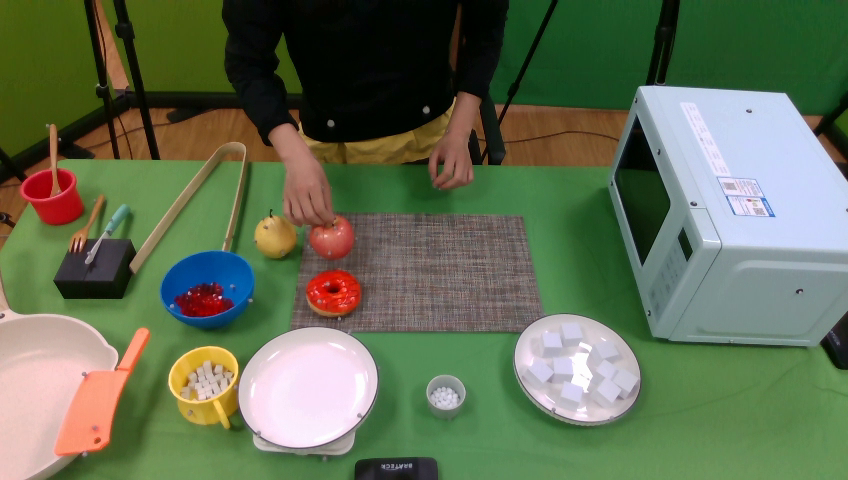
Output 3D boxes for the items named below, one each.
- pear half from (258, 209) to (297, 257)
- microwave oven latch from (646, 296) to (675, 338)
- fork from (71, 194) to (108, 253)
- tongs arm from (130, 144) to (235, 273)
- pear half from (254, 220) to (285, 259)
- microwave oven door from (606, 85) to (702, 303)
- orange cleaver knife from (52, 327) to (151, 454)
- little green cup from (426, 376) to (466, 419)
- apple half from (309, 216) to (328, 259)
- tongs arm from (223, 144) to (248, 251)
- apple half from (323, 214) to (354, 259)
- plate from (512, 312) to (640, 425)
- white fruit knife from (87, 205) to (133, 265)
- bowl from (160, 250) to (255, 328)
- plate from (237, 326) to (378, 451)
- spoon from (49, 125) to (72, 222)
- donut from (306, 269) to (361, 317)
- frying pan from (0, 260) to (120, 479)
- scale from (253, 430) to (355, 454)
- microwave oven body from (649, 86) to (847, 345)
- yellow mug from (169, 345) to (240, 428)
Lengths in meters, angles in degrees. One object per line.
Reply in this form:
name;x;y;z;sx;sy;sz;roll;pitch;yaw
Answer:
pear half;-0.273;-0.024;1.141;0.076;0.110;0.056;27;50;16
microwave oven latch;0.412;0.134;1.061;0.030;0.029;0.078;4;45;1
fork;-0.634;-0.036;1.158;0.028;0.019;0.206;-8;31;-8
tongs arm;-0.484;-0.078;1.234;0.028;0.028;0.385;6;44;12
pear half;-0.294;0.003;1.127;0.070;0.088;0.031;25;49;16
microwave oven door;0.422;-0.094;1.140;0.039;0.245;0.353;2;46;-1
orange cleaver knife;-0.462;0.212;0.879;0.077;0.012;0.210;7;45;-2
little green cup;0.033;0.248;0.950;0.061;0.039;0.061;2;46;-2
apple half;-0.194;-0.001;1.109;0.033;0.082;0.081;-5;47;-6
tongs arm;-0.397;-0.073;1.232;0.051;0.026;0.382;-2;45;-1
apple half;-0.156;-0.006;1.112;0.053;0.075;0.080;-5;40;-5
plate;0.246;0.213;0.999;0.208;0.039;0.206;2;46;-2
white fruit knife;-0.584;-0.013;1.129;0.016;0.027;0.206;-1;32;-4
bowl;-0.362;0.098;1.039;0.151;0.077;0.150;2;45;-2
plate;-0.174;0.224;0.917;0.209;0.038;0.208;2;46;-2
spoon;-0.718;-0.131;1.189;0.041;0.021;0.193;-3;90;-6
donut;-0.160;0.094;1.075;0.099;0.048;0.098;4;46;-3
frying pan;-0.647;0.164;0.936;0.307;0.103;0.485;-19;58;-22
scale;-0.175;0.236;0.951;0.149;0.032;0.199;4;45;0
microwave oven body;0.567;-0.053;1.118;0.326;0.261;0.439;2;45;-1
yellow mug;-0.322;0.230;0.922;0.100;0.064;0.130;-24;53;-25
